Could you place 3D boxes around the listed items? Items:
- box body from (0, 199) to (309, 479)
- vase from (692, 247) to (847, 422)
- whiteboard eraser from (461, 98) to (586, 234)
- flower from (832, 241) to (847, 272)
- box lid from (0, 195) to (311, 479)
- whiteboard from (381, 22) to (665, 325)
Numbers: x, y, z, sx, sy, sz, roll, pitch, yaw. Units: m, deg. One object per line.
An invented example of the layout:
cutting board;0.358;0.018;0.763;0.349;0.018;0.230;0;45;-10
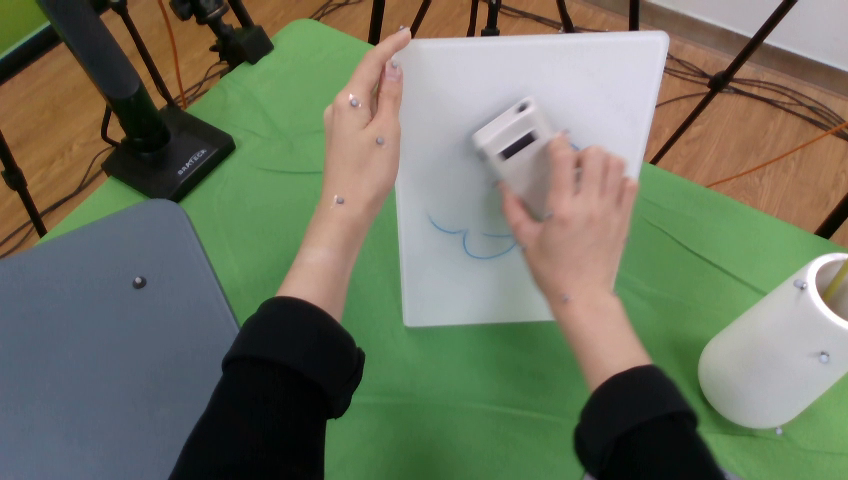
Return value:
box body;-0.241;0.180;0.479;0.254;0.162;0.360;-27;62;-16
vase;0.309;0.085;0.524;0.098;0.201;0.097;0;56;0
whiteboard eraser;0.084;-0.060;0.503;0.055;0.114;0.041;-33;32;20
flower;0.310;0.027;0.462;0.044;0.364;0.038;22;43;17
box lid;-0.241;0.139;0.417;0.263;0.015;0.368;-26;62;-17
whiteboard;0.077;-0.078;0.598;0.217;0.308;0.142;-2;38;-1
